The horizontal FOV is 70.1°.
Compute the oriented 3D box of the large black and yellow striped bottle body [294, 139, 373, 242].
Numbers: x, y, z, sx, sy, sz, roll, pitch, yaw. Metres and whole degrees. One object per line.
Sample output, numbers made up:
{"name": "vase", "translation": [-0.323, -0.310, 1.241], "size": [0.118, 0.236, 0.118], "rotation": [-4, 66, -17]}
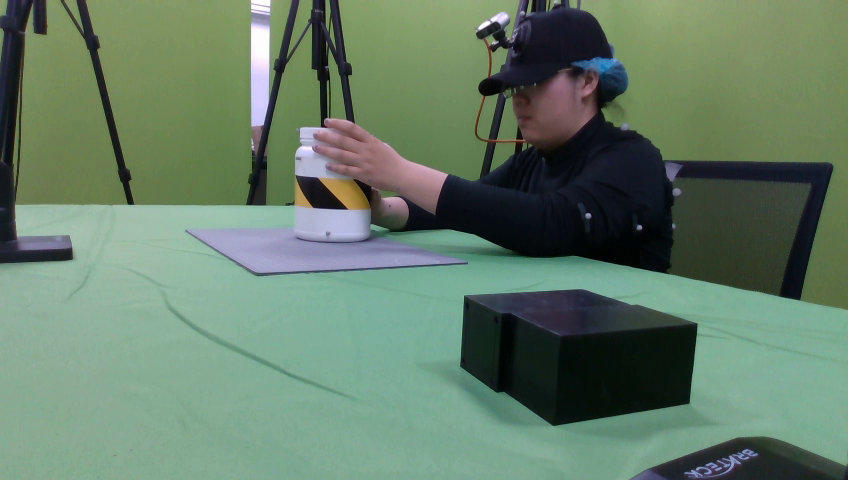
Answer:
{"name": "large black and yellow striped bottle body", "translation": [-0.154, -0.094, 1.029], "size": [0.131, 0.184, 0.130], "rotation": [3, 8, 0]}

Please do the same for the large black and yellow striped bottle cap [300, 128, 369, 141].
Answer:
{"name": "large black and yellow striped bottle cap", "translation": [-0.150, -0.177, 1.017], "size": [0.115, 0.019, 0.115], "rotation": [1, 7, 0]}
